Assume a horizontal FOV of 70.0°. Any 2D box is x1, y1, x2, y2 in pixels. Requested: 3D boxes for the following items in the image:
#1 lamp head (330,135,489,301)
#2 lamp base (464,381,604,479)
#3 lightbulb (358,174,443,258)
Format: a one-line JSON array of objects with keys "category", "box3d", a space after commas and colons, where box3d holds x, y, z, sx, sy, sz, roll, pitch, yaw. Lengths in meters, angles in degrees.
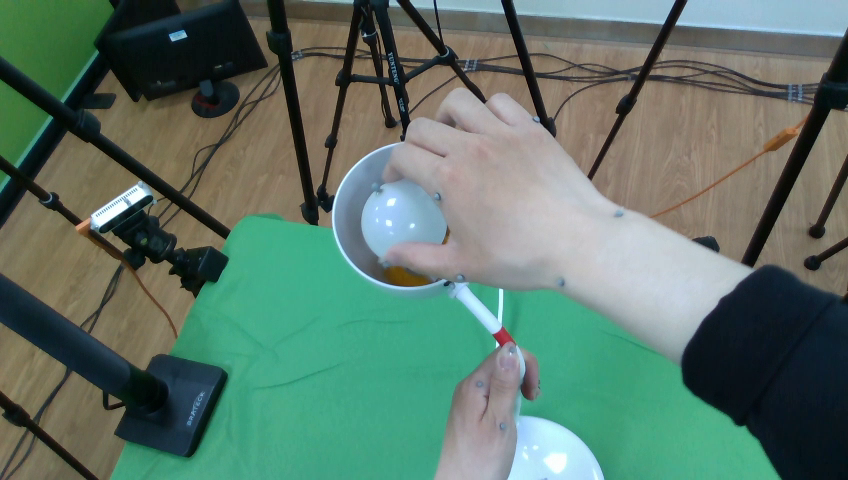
[{"category": "lamp head", "box3d": [-0.004, -0.003, 0.470, 0.112, 0.124, 0.111, -2, 68, 7]}, {"category": "lamp base", "box3d": [0.111, 0.231, 0.642, 0.161, 0.182, 0.177, -26, 57, -7]}, {"category": "lightbulb", "box3d": [-0.015, -0.014, 0.447, 0.059, 0.108, 0.059, -1, 82, 5]}]
